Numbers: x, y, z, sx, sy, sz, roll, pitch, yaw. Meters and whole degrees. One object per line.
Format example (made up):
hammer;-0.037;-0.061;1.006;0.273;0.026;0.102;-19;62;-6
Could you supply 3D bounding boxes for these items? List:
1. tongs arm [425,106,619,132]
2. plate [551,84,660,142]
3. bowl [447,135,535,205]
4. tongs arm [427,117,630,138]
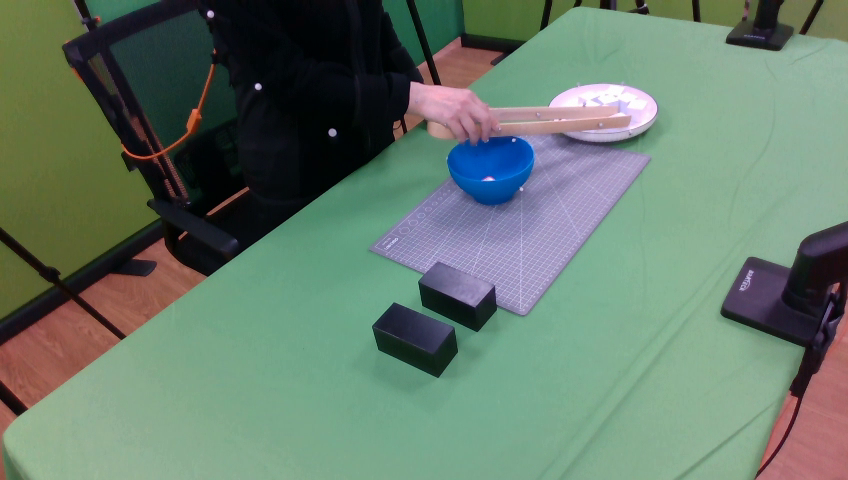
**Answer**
tongs arm;0.186;-0.218;1.085;0.387;0.026;0.050;-3;40;-14
plate;0.355;-0.246;1.195;0.207;0.039;0.206;-5;39;5
bowl;0.119;-0.115;1.051;0.151;0.077;0.150;-6;41;5
tongs arm;0.194;-0.202;1.065;0.389;0.028;0.028;-5;44;-17
